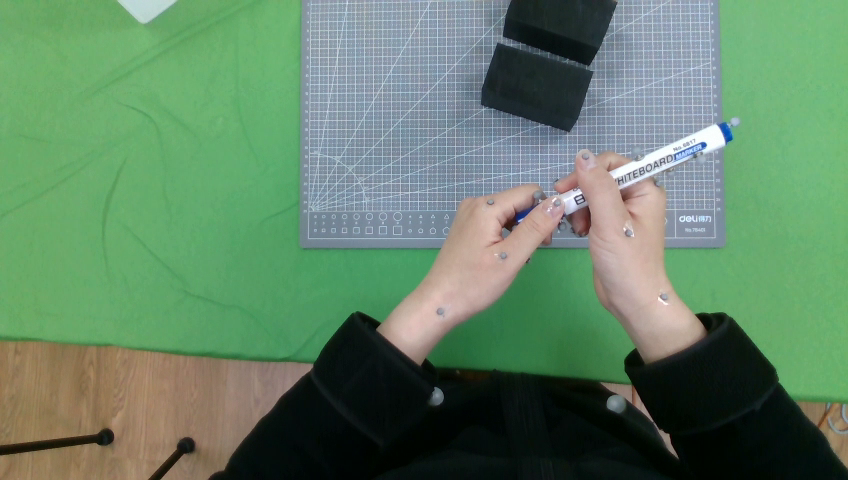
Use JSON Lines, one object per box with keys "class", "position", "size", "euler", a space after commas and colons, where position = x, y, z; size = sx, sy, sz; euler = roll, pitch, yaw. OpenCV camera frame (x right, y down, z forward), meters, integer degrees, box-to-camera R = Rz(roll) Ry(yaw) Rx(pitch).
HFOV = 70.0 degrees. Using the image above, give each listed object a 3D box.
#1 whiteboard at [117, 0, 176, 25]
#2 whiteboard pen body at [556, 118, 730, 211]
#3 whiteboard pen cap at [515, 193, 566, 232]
{"class": "whiteboard", "position": [-0.307, -0.408, 0.572], "size": [0.217, 0.308, 0.142], "euler": [-36, 65, 1]}
{"class": "whiteboard pen body", "position": [0.132, -0.044, 0.404], "size": [0.140, 0.017, 0.017], "euler": [-25, 85, 17]}
{"class": "whiteboard pen cap", "position": [0.082, -0.019, 0.422], "size": [0.033, 0.018, 0.018], "euler": [-26, 85, 18]}
